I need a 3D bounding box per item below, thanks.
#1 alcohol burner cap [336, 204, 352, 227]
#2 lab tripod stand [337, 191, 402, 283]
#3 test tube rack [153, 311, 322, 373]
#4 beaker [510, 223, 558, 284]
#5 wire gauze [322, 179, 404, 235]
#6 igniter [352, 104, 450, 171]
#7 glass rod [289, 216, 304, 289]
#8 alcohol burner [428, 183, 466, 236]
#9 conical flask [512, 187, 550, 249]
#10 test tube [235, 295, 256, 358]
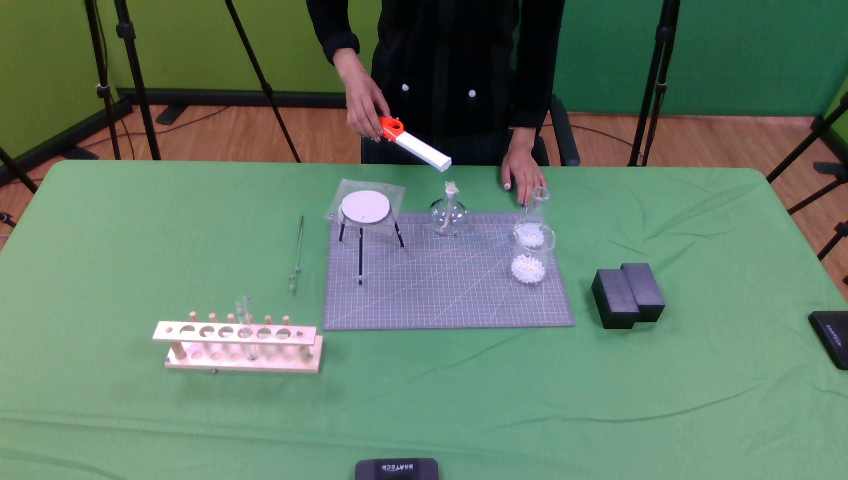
[{"bbox_3d":[-0.162,-0.053,1.221,0.034,0.048,0.033,2,47,-2],"label":"alcohol burner cap"},{"bbox_3d":[-0.106,-0.016,1.125,0.148,0.132,0.147,3,44,-2],"label":"lab tripod stand"},{"bbox_3d":[-0.293,0.160,0.977,0.242,0.085,0.066,3,46,-2],"label":"test tube rack"},{"bbox_3d":[0.199,0.027,1.132,0.083,0.101,0.074,26,50,21],"label":"beaker"},{"bbox_3d":[-0.106,-0.064,1.078,0.125,0.011,0.121,11,45,5],"label":"wire gauze"},{"bbox_3d":[-0.054,-0.210,1.214,0.057,0.025,0.275,-39,56,-23],"label":"igniter"},{"bbox_3d":[-0.246,0.020,1.171,0.008,0.008,0.198,1,43,-3],"label":"glass rod"},{"bbox_3d":[0.047,-0.066,1.200,0.078,0.119,0.077,4,45,-3],"label":"alcohol burner"},{"bbox_3d":[0.217,-0.048,1.190,0.075,0.122,0.075,2,46,-2],"label":"conical flask"},{"bbox_3d":[-0.274,0.136,0.933,0.017,0.151,0.017,4,46,-4],"label":"test tube"}]
